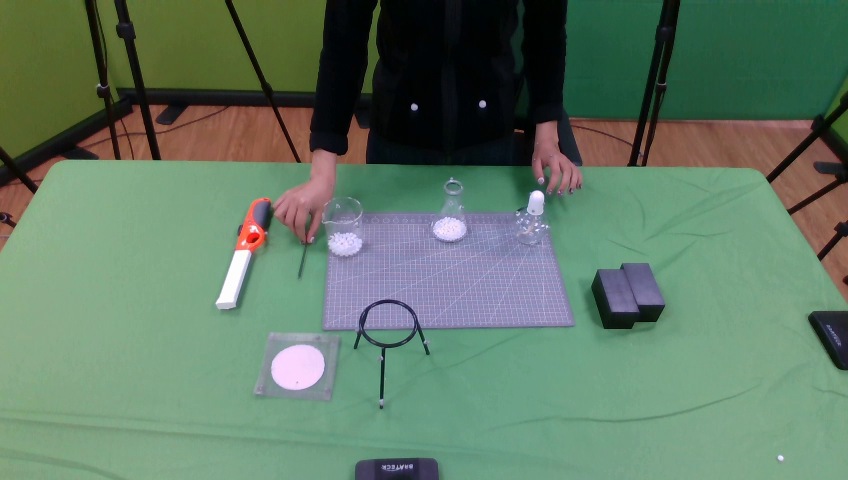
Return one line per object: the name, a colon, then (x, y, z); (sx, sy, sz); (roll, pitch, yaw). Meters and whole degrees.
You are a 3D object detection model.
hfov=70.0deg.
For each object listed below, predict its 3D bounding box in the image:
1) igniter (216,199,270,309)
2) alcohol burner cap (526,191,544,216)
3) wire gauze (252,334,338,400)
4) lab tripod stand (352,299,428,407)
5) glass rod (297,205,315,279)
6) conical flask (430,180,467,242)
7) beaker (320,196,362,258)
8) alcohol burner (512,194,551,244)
igniter: (-0.342, 0.016, 1.153); (0.057, 0.025, 0.275); (-3, 45, 7)
alcohol burner cap: (0.216, -0.073, 1.170); (0.034, 0.048, 0.033); (0, 42, 1)
wire gauze: (-0.209, 0.204, 0.996); (0.125, 0.011, 0.120); (3, 45, 1)
lab tripod stand: (-0.056, 0.166, 0.958); (0.148, 0.132, 0.147); (3, 44, -2)
glass rod: (-0.230, 0.000, 1.190); (0.008, 0.008, 0.198); (2, 46, -1)
conical flask: (0.052, -0.060, 1.189); (0.075, 0.122, 0.075); (2, 46, -2)
beaker: (-0.156, -0.021, 1.150); (0.084, 0.101, 0.073); (-30, 55, -28)
alcohol burner: (0.215, -0.048, 1.196); (0.078, 0.119, 0.077); (4, 46, -4)
